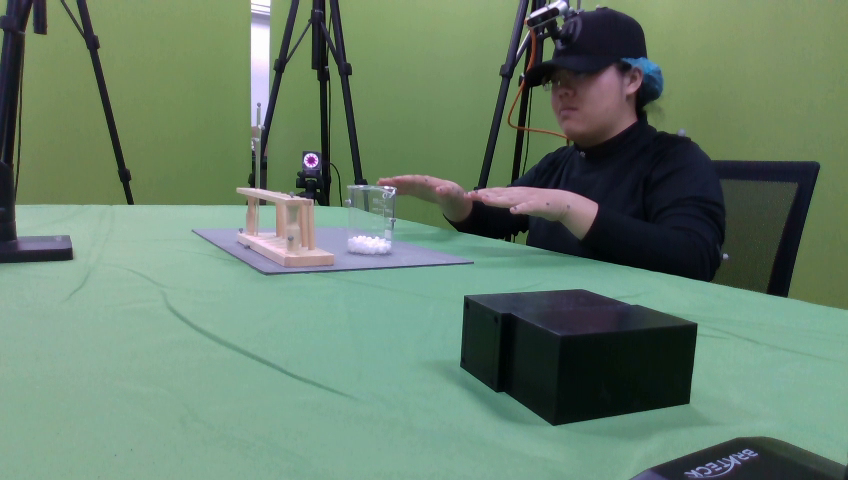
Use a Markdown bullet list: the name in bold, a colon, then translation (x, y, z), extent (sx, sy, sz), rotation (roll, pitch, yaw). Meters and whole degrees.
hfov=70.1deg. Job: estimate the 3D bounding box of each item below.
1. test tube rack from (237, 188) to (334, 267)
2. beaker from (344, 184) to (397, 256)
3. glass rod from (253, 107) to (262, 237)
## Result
- **test tube rack**: translation (-0.202, -0.024, 0.855), extent (0.067, 0.085, 0.241), rotation (-2, 8, -30)
- **beaker**: translation (-0.077, -0.030, 0.886), extent (0.083, 0.100, 0.074), rotation (9, 10, 39)
- **glass rod**: translation (-0.251, -0.101, 0.912), extent (0.008, 0.199, 0.008), rotation (2, 3, 0)
